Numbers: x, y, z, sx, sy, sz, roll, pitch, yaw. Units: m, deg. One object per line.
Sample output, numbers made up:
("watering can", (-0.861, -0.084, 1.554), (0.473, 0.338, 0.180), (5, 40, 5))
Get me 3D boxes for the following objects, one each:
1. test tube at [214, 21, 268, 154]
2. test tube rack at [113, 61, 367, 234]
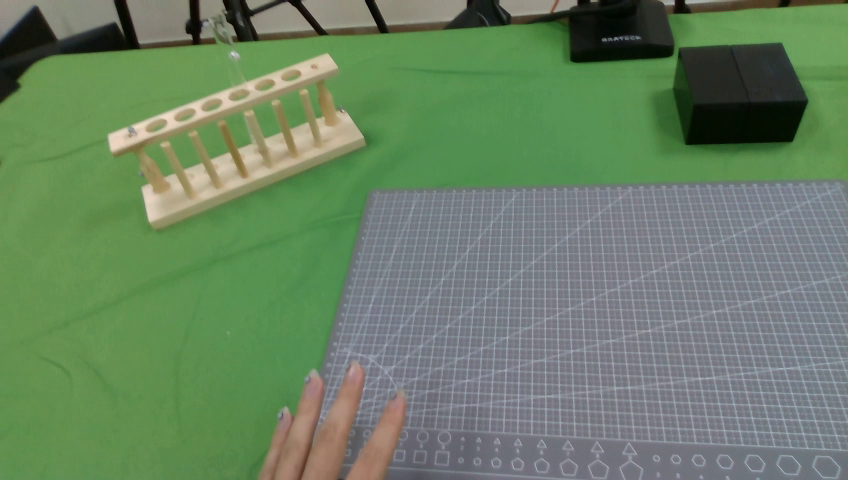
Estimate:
("test tube", (-0.188, -0.154, 0.633), (0.017, 0.152, 0.017), (-3, 43, 4))
("test tube rack", (-0.192, -0.102, 0.654), (0.242, 0.086, 0.066), (-24, 48, -11))
